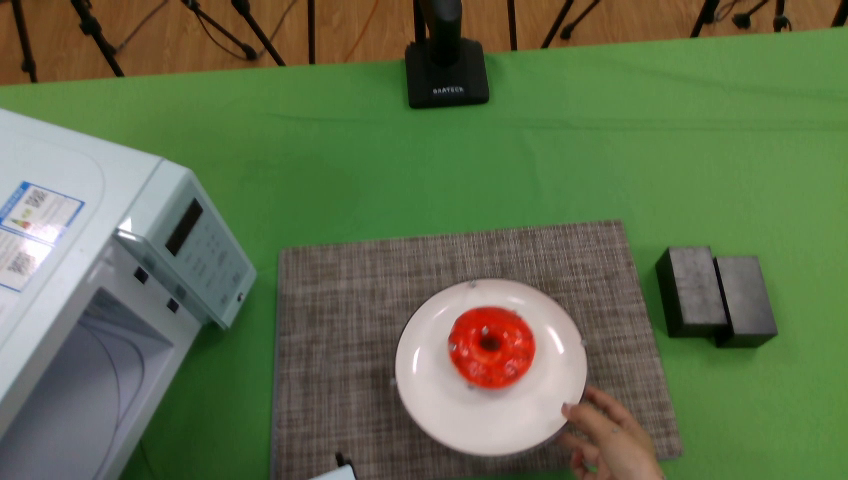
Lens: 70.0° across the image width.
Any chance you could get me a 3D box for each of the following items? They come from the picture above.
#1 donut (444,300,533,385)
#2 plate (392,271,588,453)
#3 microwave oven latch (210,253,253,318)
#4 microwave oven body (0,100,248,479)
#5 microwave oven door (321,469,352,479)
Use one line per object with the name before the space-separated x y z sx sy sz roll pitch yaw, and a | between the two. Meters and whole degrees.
donut | 0.070 0.112 0.664 0.099 0.049 0.098 -3 57 4
plate | 0.071 0.131 0.664 0.209 0.038 0.207 -4 56 6
microwave oven latch | -0.234 0.052 0.729 0.030 0.030 0.078 18 66 8
microwave oven body | -0.435 0.115 0.592 0.325 0.262 0.439 18 66 8
microwave oven door | -0.210 0.278 0.505 0.356 0.245 0.039 -19 64 -9
